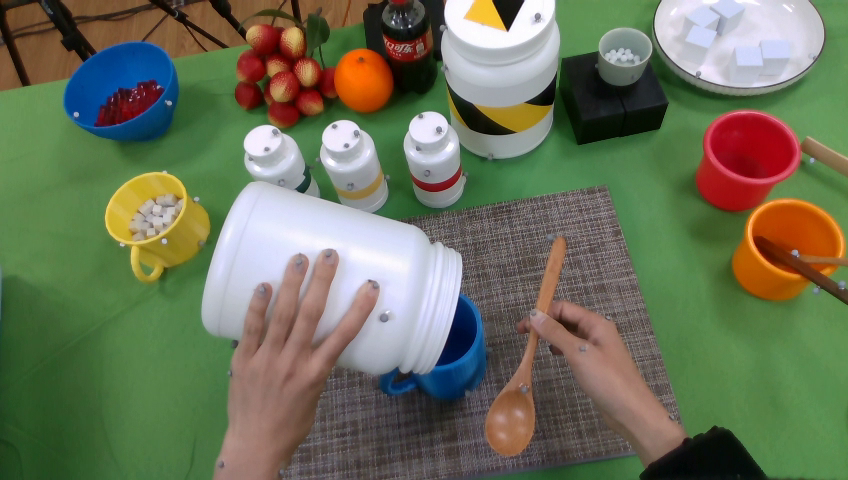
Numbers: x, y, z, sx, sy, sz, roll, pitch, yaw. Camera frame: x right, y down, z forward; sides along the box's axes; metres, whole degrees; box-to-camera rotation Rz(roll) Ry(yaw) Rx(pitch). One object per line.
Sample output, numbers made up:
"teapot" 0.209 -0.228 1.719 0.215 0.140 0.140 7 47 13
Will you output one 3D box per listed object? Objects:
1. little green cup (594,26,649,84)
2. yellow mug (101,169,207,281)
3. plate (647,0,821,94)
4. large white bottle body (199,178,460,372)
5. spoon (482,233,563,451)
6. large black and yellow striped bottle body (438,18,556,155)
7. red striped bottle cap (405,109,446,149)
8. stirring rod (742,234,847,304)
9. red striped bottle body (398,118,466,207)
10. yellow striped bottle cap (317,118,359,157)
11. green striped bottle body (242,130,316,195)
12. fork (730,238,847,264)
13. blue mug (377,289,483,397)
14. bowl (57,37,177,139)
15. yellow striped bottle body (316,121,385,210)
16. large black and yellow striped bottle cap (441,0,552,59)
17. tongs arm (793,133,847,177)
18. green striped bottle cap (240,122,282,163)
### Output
"little green cup" 0.233 -0.219 0.724 0.061 0.039 0.061 -2 60 4
"yellow mug" -0.327 -0.013 0.730 0.100 0.064 0.130 -1 64 7
"plate" 0.395 -0.268 0.787 0.209 0.038 0.207 -3 63 6
"large white bottle body" -0.073 0.035 0.502 0.185 0.131 0.129 16 64 -9
"spoon" 0.092 0.085 0.524 0.041 0.022 0.193 16 86 15
"large black and yellow striped bottle body" 0.085 -0.201 0.708 0.130 0.185 0.129 -3 63 6
"red striped bottle cap" 0.001 -0.120 0.654 0.044 0.018 0.044 -1 61 2
"stirring rod" 0.359 0.024 0.586 0.014 0.006 0.175 -7 19 1
"red striped bottle body" 0.009 -0.095 0.700 0.063 0.121 0.062 -6 59 11
"yellow striped bottle cap" -0.094 -0.112 0.662 0.044 0.019 0.044 -1 58 2
"green striped bottle body" -0.173 -0.084 0.717 0.063 0.120 0.062 -3 62 5
"fork" 0.389 0.020 0.576 0.028 0.019 0.206 -46 23 -14
"blue mug" 0.003 0.111 0.597 0.116 0.107 0.081 -35 63 -11
"bowl" -0.399 -0.191 0.824 0.151 0.077 0.150 -3 63 5
"yellow striped bottle body" -0.086 -0.089 0.708 0.063 0.121 0.062 -3 62 7
"large black and yellow striped bottle cap" 0.075 -0.239 0.631 0.115 0.019 0.114 -4 64 8
"tongs arm" 0.583 -0.018 0.636 0.382 0.027 0.050 40 69 22
"green striped bottle cap" -0.181 -0.108 0.671 0.044 0.020 0.044 -2 62 4
